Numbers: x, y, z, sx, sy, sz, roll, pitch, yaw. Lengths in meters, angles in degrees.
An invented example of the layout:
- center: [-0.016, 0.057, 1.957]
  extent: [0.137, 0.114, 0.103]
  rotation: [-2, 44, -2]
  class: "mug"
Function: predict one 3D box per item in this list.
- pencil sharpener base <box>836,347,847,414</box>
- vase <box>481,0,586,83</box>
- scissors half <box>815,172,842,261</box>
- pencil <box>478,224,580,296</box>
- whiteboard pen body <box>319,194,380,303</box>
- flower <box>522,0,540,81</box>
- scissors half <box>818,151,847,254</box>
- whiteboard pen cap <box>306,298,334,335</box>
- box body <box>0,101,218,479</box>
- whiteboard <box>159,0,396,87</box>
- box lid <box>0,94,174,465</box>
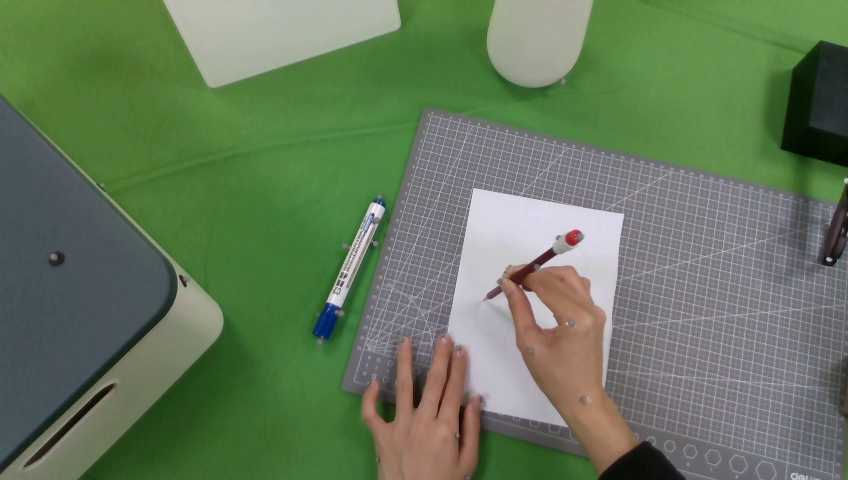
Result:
- center: [0.417, 0.123, 0.505]
  extent: [0.076, 0.107, 0.061]
  rotation: [18, 73, 2]
  class: "pencil sharpener base"
- center: [0.107, -0.233, 0.560]
  extent: [0.098, 0.201, 0.097]
  rotation: [0, 72, 1]
  class: "vase"
- center: [0.401, -0.064, 0.576]
  extent: [0.012, 0.040, 0.175]
  rotation: [17, 93, 29]
  class: "scissors half"
- center: [0.075, 0.023, 0.485]
  extent: [0.012, 0.194, 0.012]
  rotation: [4, 71, -13]
  class: "pencil"
- center: [-0.075, 0.018, 0.578]
  extent: [0.017, 0.017, 0.140]
  rotation: [21, 73, 6]
  class: "whiteboard pen body"
- center: [0.103, -0.272, 0.484]
  extent: [0.044, 0.365, 0.038]
  rotation: [8, 56, 6]
  class: "flower"
- center: [0.392, -0.069, 0.558]
  extent: [0.013, 0.040, 0.174]
  rotation: [17, 76, 24]
  class: "scissors half"
- center: [-0.095, 0.070, 0.560]
  extent: [0.018, 0.018, 0.033]
  rotation: [20, 71, 6]
  class: "whiteboard pen cap"
- center: [-0.386, 0.025, 0.498]
  extent: [0.362, 0.161, 0.254]
  rotation: [41, 77, 10]
  class: "box body"
- center: [-0.170, -0.336, 0.563]
  extent: [0.217, 0.308, 0.142]
  rotation: [-19, 55, -5]
  class: "whiteboard"
- center: [-0.387, 0.002, 0.427]
  extent: [0.370, 0.015, 0.263]
  rotation: [41, 77, 10]
  class: "box lid"
